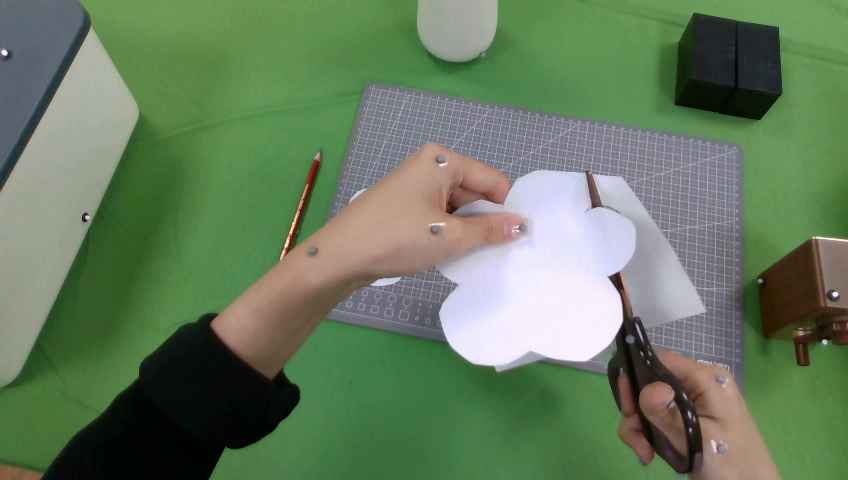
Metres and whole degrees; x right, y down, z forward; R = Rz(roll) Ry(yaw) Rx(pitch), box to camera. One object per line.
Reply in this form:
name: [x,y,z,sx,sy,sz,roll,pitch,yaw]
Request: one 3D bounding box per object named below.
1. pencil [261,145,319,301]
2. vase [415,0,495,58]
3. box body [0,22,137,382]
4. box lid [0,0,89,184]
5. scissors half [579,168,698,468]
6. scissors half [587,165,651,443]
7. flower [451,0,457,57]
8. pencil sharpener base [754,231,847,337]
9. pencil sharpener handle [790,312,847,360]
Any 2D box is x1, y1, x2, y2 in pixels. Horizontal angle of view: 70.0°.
pencil: [-0.143,-0.024,0.661,0.012,0.012,0.193,11,66,5]
vase: [0.036,-0.299,0.676,0.098,0.201,0.097,0,65,1]
box body: [-0.477,-0.060,0.588,0.254,0.161,0.361,10,67,4]
box lid: [-0.477,-0.092,0.519,0.263,0.015,0.369,11,67,3]
scissors half: [0.117,0.042,0.338,0.013,0.040,0.174,-17,84,-13]
scissors half: [0.113,0.041,0.359,0.013,0.040,0.176,-16,106,-8]
flower: [0.032,-0.346,0.605,0.044,0.365,0.038,4,49,5]
pencil sharpener base: [0.374,0.048,0.583,0.061,0.108,0.076,6,67,2]
pencil sharpener handle: [0.364,0.089,0.551,0.036,0.068,0.030,12,66,-12]
